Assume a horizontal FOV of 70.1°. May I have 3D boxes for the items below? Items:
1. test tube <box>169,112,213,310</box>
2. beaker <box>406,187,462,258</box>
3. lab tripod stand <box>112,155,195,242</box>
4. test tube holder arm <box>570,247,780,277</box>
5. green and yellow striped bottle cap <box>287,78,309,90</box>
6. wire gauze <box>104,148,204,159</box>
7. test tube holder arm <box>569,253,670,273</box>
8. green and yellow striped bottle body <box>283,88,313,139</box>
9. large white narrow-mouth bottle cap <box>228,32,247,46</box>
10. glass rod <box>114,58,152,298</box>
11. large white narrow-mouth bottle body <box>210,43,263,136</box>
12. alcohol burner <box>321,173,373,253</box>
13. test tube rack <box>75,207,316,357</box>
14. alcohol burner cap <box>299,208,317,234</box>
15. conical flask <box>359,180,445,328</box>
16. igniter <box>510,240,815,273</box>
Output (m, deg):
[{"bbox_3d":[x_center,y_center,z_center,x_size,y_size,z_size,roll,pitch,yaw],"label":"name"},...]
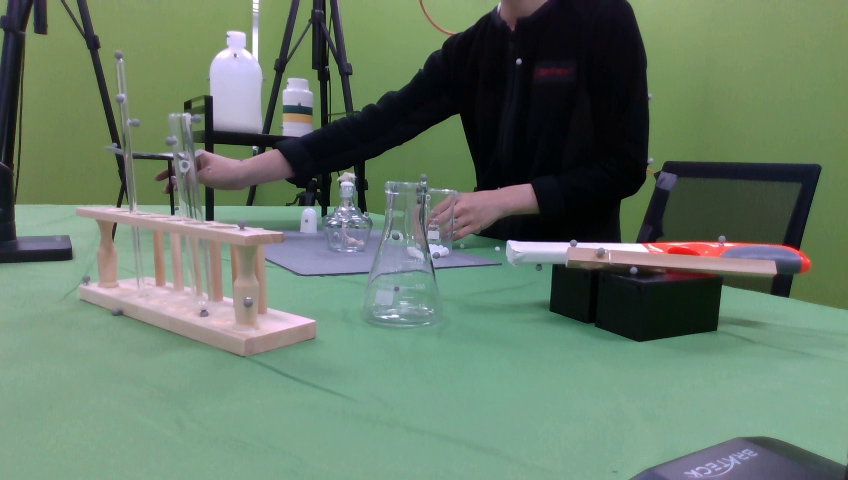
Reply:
[{"bbox_3d":[-0.175,-0.020,0.455,0.017,0.150,0.017,-3,9,1],"label":"test tube"},{"bbox_3d":[0.012,-0.026,0.892,0.084,0.100,0.074,3,8,-2],"label":"beaker"},{"bbox_3d":[-0.405,-0.064,0.931,0.148,0.131,0.148,1,6,0],"label":"lab tripod stand"},{"bbox_3d":[0.217,0.019,0.525,0.178,0.015,0.013,3,-23,3],"label":"test tube holder arm"},{"bbox_3d":[-0.265,-0.326,1.268,0.045,0.020,0.045,4,6,0],"label":"green and yellow striped bottle cap"},{"bbox_3d":[-0.408,-0.131,0.928,0.125,0.011,0.121,1,6,-11],"label":"wire gauze"},{"bbox_3d":[0.172,0.019,0.532,0.088,0.015,0.010,3,-23,3],"label":"test tube holder arm"},{"bbox_3d":[-0.266,-0.275,1.275,0.063,0.119,0.063,2,7,0],"label":"green and yellow striped bottle body"},{"bbox_3d":[-0.364,-0.391,1.180,0.038,0.024,0.037,3,8,0],"label":"large white narrow-mouth bottle cap"},{"bbox_3d":[-0.236,-0.044,0.492,0.008,0.199,0.008,0,15,0],"label":"glass rod"},{"bbox_3d":[-0.369,-0.305,1.194,0.102,0.194,0.102,3,8,0],"label":"large white narrow-mouth bottle body"},{"bbox_3d":[-0.115,-0.041,0.905,0.078,0.119,0.078,1,6,0],"label":"alcohol burner"},{"bbox_3d":[-0.196,0.023,0.500,0.241,0.085,0.067,8,9,36],"label":"test tube rack"},{"bbox_3d":[-0.213,-0.035,1.110,0.034,0.048,0.034,3,7,0],"label":"alcohol burner cap"},{"bbox_3d":[-0.017,0.010,0.522,0.075,0.122,0.075,2,7,0],"label":"conical flask"},{"bbox_3d":[0.220,0.015,0.565,0.277,0.025,0.057,2,16,0],"label":"igniter"}]
